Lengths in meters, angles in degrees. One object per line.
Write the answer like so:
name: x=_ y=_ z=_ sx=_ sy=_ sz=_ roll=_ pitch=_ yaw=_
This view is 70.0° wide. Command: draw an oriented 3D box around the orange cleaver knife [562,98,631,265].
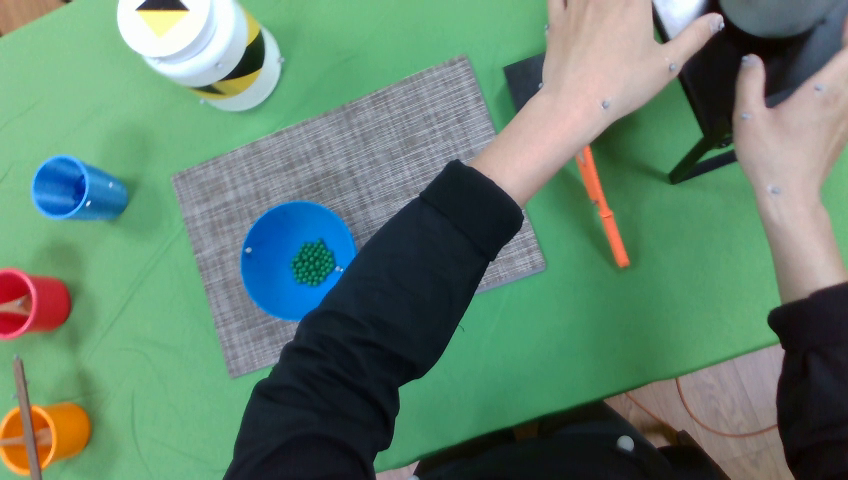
orange cleaver knife: x=0.205 y=-0.068 z=0.723 sx=0.012 sy=0.076 sz=0.213 roll=-23 pitch=111 yaw=4

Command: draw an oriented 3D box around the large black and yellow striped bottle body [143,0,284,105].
large black and yellow striped bottle body: x=-0.273 y=-0.262 z=0.773 sx=0.130 sy=0.184 sz=0.130 roll=-1 pitch=84 yaw=10

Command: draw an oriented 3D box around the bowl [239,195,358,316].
bowl: x=-0.149 y=0.022 z=0.778 sx=0.151 sy=0.077 sz=0.151 roll=-1 pitch=85 yaw=10

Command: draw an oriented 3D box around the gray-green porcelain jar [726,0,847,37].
gray-green porcelain jar: x=0.321 y=-0.240 z=0.510 sx=0.105 sy=0.127 sz=0.105 roll=-1 pitch=85 yaw=11

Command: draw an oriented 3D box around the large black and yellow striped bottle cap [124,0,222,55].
large black and yellow striped bottle cap: x=-0.288 y=-0.270 z=0.691 sx=0.115 sy=0.019 sz=0.115 roll=-1 pitch=86 yaw=11

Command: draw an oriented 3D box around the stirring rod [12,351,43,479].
stirring rod: x=-0.520 y=0.233 z=0.793 sx=0.014 sy=0.006 sz=0.175 roll=-14 pitch=83 yaw=6

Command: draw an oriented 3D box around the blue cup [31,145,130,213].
blue cup: x=-0.463 y=-0.076 z=0.834 sx=0.092 sy=0.100 sz=0.092 roll=-1 pitch=86 yaw=9

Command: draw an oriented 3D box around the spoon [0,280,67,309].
spoon: x=-0.600 y=0.086 z=0.825 sx=0.195 sy=0.021 sz=0.041 roll=-7 pitch=83 yaw=-34

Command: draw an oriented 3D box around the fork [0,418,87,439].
fork: x=-0.566 y=0.257 z=0.801 sx=0.209 sy=0.018 sz=0.028 roll=4 pitch=94 yaw=-33
